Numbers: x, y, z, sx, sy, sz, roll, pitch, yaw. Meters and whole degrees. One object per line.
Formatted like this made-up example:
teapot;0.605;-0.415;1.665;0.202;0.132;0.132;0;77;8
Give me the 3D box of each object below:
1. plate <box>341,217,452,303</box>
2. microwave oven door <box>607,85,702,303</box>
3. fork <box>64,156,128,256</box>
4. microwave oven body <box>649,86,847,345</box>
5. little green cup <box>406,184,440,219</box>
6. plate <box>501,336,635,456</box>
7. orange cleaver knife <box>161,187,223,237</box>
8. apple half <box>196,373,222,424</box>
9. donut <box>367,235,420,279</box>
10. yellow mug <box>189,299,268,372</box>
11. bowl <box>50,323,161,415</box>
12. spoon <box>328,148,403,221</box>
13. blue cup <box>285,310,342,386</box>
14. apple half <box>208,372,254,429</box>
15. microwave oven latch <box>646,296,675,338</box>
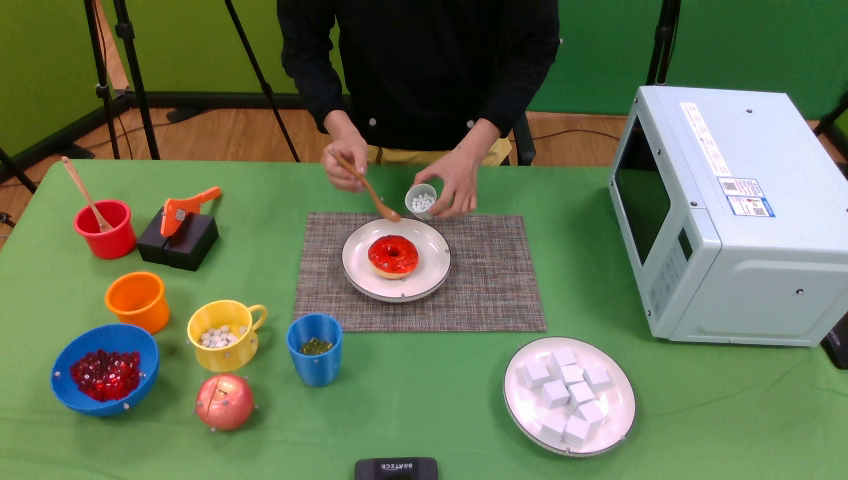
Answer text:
plate;-0.052;0.039;1.140;0.209;0.038;0.208;2;46;-2
microwave oven door;0.423;-0.094;1.141;0.039;0.245;0.353;2;46;-1
fork;-0.614;-0.064;1.130;0.028;0.018;0.207;-30;97;-17
microwave oven body;0.568;-0.053;1.118;0.326;0.261;0.439;2;45;-1
little green cup;0.000;-0.070;1.127;0.061;0.039;0.061;-7;65;17
plate;0.225;0.248;0.963;0.208;0.039;0.206;2;46;-2
orange cleaver knife;-0.448;-0.058;1.180;0.012;0.077;0.211;13;17;6
apple half;-0.322;0.240;0.907;0.033;0.081;0.081;7;46;0
donut;-0.056;0.032;1.132;0.099;0.048;0.098;3;45;-3
yellow mug;-0.316;0.148;1.002;0.131;0.064;0.099;-32;56;-31
bowl;-0.472;0.209;0.924;0.151;0.077;0.150;3;45;-2
spoon;-0.098;-0.094;1.033;0.021;0.195;0.041;-34;38;8
blue cup;-0.170;0.179;0.958;0.093;0.101;0.092;2;44;-1
apple half;-0.283;0.244;0.908;0.053;0.075;0.080;7;42;-1
microwave oven latch;0.412;0.134;1.061;0.030;0.029;0.078;4;45;1
